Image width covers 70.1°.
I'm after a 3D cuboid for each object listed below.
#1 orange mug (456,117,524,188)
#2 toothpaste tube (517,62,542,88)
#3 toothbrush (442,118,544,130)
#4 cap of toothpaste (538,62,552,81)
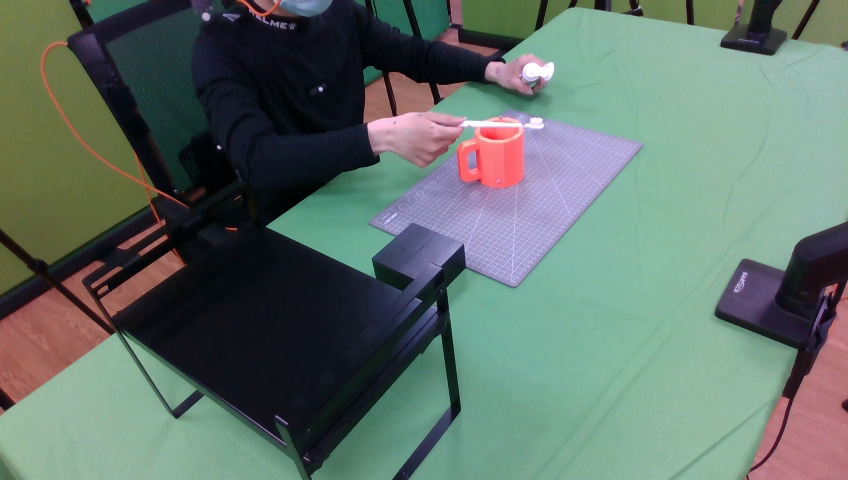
[{"bbox_3d":[0.117,-0.152,1.071,0.127,0.101,0.083,-14,41,-14],"label":"orange mug"},{"bbox_3d":[0.222,-0.338,1.253,0.055,0.034,0.165,-8,3,8],"label":"toothpaste tube"},{"bbox_3d":[0.114,-0.199,1.028,0.181,0.017,0.014,6,50,23],"label":"toothbrush"},{"bbox_3d":[0.233,-0.326,1.166,0.011,0.037,0.037,12,34,-23],"label":"cap of toothpaste"}]
